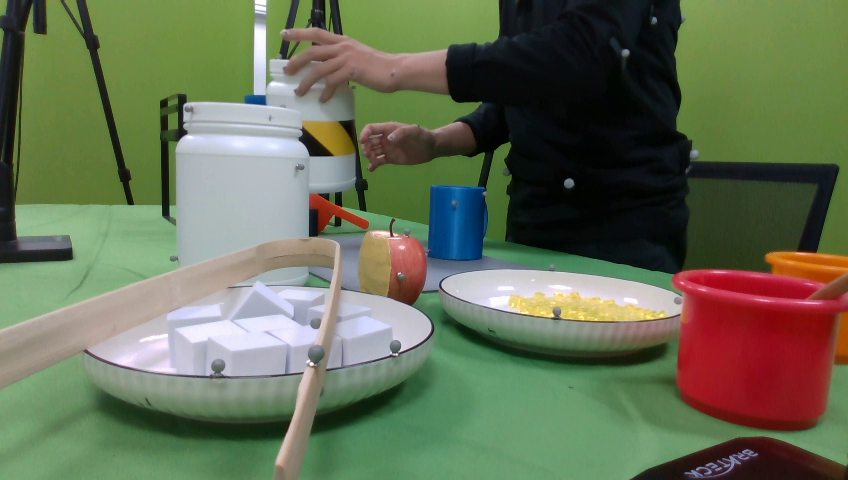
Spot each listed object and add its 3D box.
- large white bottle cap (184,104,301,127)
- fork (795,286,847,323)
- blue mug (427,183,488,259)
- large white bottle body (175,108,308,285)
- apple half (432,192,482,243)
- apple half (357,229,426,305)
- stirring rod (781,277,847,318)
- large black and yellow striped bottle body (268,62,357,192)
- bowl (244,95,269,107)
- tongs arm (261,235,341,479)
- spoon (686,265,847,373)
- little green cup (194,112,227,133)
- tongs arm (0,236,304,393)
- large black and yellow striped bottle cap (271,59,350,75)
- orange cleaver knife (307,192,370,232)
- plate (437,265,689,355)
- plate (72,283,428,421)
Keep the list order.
[{"bbox_3d":[-0.184,-0.126,0.618,0.115,0.018,0.115,2,8,0],"label":"large white bottle cap"},{"bbox_3d":[0.332,0.018,0.443,0.028,0.018,0.207,-1,-35,-15],"label":"fork"},{"bbox_3d":[0.059,-0.031,0.906,0.082,0.106,0.117,9,10,42],"label":"blue mug"},{"bbox_3d":[-0.188,-0.042,0.630,0.131,0.184,0.130,2,8,0],"label":"large white bottle body"},{"bbox_3d":[0.048,-0.036,0.906,0.081,0.081,0.033,2,15,0],"label":"apple half"},{"bbox_3d":[-0.026,0.028,0.570,0.053,0.074,0.080,2,2,-28],"label":"apple half"},{"bbox_3d":[0.344,0.019,0.460,0.014,0.006,0.176,-13,-27,-30],"label":"stirring rod"},{"bbox_3d":[-0.166,-0.174,0.913,0.131,0.184,0.130,1,17,0],"label":"large black and yellow striped bottle body"},{"bbox_3d":[-0.293,-0.251,1.249,0.151,0.077,0.151,2,8,0],"label":"bowl"},{"bbox_3d":[-0.073,0.039,0.349,0.051,0.026,0.384,-1,9,-3],"label":"tongs arm"},{"bbox_3d":[0.214,0.032,0.327,0.042,0.021,0.193,-2,-35,-25],"label":"spoon"},{"bbox_3d":[-0.412,-0.228,1.171,0.061,0.038,0.061,2,8,0],"label":"little green cup"},{"bbox_3d":[-0.157,0.037,0.351,0.028,0.028,0.388,-3,8,12],"label":"tongs arm"},{"bbox_3d":[-0.166,-0.254,0.889,0.115,0.019,0.115,3,15,0],"label":"large black and yellow striped bottle cap"},{"bbox_3d":[-0.196,-0.056,1.140,0.212,0.077,0.012,29,0,-34],"label":"orange cleaver knife"},{"bbox_3d":[0.114,0.057,0.517,0.209,0.038,0.209,3,8,0],"label":"plate"},{"bbox_3d":[-0.102,0.066,0.381,0.208,0.039,0.207,2,7,0],"label":"plate"}]
